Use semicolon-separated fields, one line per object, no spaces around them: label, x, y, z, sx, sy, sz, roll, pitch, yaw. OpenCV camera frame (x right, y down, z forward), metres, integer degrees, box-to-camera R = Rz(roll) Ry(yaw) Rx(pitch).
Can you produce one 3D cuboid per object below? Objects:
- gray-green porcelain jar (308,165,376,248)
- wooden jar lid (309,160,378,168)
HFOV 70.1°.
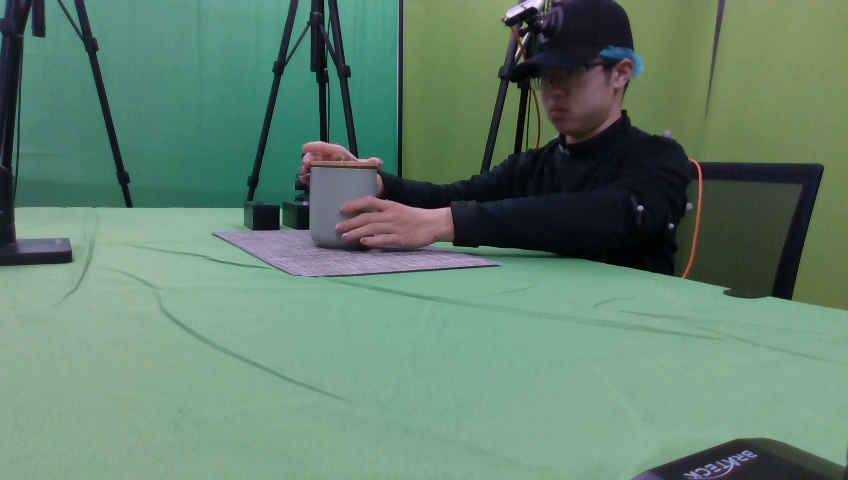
gray-green porcelain jar;-0.131;-0.054;0.966;0.106;0.126;0.106;2;7;0
wooden jar lid;-0.127;-0.117;0.957;0.108;0.020;0.108;1;7;0
